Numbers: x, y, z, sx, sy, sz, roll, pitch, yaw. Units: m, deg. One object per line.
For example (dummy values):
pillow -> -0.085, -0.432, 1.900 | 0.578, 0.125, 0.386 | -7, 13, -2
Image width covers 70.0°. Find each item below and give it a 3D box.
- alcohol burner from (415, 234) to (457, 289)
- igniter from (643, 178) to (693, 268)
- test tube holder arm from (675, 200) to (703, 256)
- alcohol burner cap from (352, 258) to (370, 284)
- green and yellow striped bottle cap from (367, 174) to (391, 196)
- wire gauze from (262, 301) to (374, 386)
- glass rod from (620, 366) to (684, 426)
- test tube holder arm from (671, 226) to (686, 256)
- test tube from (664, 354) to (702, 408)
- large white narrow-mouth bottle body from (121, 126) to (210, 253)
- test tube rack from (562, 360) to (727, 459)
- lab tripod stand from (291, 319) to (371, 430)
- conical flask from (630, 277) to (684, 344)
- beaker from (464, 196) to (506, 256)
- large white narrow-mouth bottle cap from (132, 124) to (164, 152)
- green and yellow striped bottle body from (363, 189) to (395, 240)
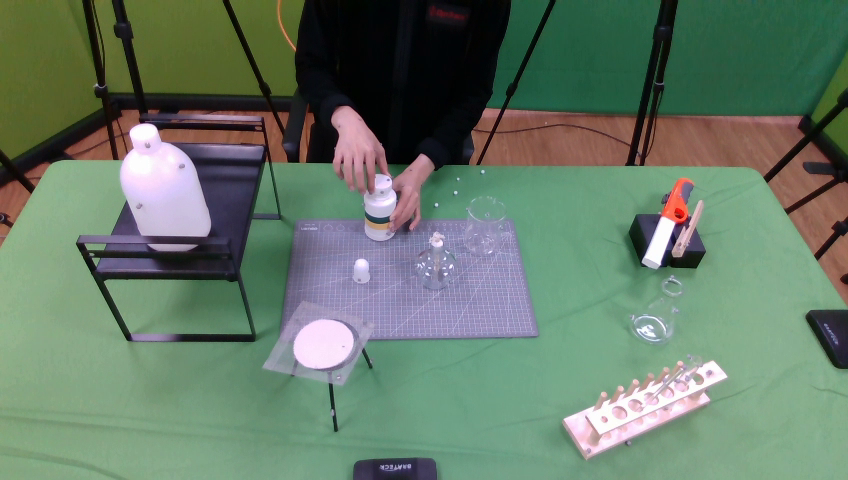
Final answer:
alcohol burner -> 0.022, 0.033, 1.099 | 0.078, 0.120, 0.077 | 1, 47, -1
igniter -> 0.488, -0.042, 1.205 | 0.057, 0.025, 0.276 | 30, 51, 11
test tube holder arm -> 0.523, -0.025, 1.190 | 0.013, 0.015, 0.178 | 0, 36, 42
alcohol burner cap -> -0.117, 0.055, 1.118 | 0.034, 0.048, 0.033 | 2, 46, -1
green and yellow striped bottle cap -> -0.083, -0.104, 1.129 | 0.045, 0.020, 0.045 | 5, 44, -4
wire gauze -> -0.150, 0.148, 0.873 | 0.121, 0.011, 0.124 | 14, 46, 12
glass rod -> 0.322, 0.227, 0.866 | 0.008, 0.200, 0.008 | 5, 51, -7
test tube holder arm -> 0.494, 0.001, 1.167 | 0.010, 0.015, 0.087 | 1, 36, 42
test tube -> 0.385, 0.215, 0.906 | 0.017, 0.151, 0.017 | -1, 49, 1
large white narrow-mouth bottle body -> -0.378, -0.077, 0.875 | 0.102, 0.195, 0.101 | 3, 46, -3
test tube rack -> 0.341, 0.247, 0.940 | 0.243, 0.085, 0.066 | -16, 49, -18
lab tripod stand -> -0.146, 0.193, 0.923 | 0.148, 0.132, 0.147 | 1, 47, -1
conical flask -> 0.408, 0.117, 1.045 | 0.075, 0.122, 0.075 | 2, 46, -2
beaker -> 0.117, -0.026, 1.174 | 0.074, 0.101, 0.083 | 21, 48, 15
large white narrow-mouth bottle cap -> -0.371, -0.137, 0.813 | 0.038, 0.024, 0.037 | 3, 46, -3
green and yellow striped bottle body -> -0.087, -0.061, 1.177 | 0.063, 0.120, 0.063 | 2, 46, -2
